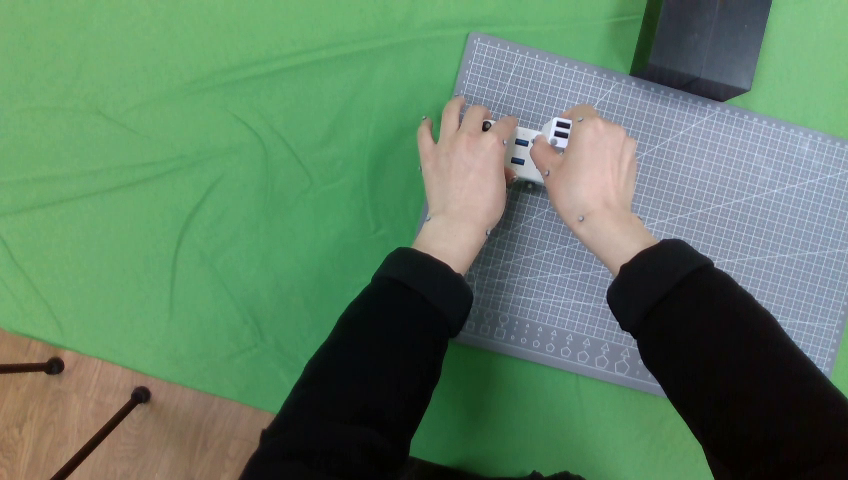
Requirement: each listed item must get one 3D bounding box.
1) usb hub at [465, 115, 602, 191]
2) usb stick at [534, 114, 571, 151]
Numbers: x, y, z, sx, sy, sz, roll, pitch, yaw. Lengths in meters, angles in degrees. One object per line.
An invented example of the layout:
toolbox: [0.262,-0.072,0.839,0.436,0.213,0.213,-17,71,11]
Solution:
usb hub: [0.106,-0.084,0.591,0.125,0.025,0.049,12,90,-3]
usb stick: [0.116,-0.098,0.559,0.021,0.059,0.027,11,88,-2]
